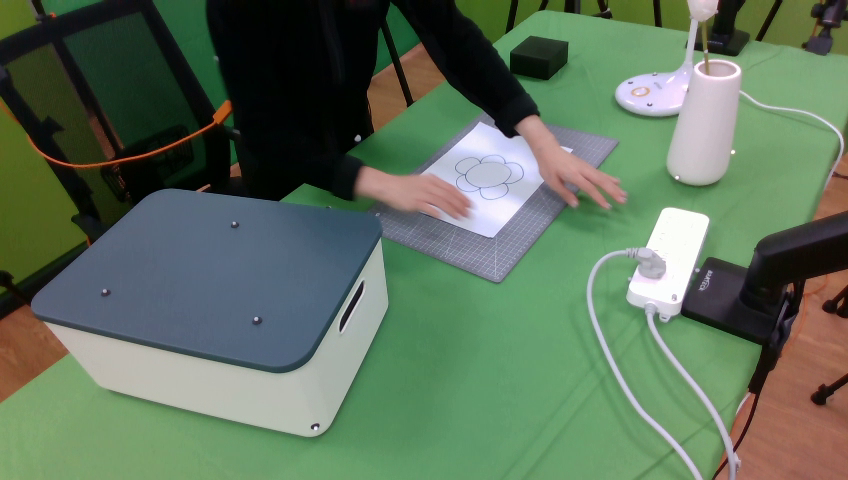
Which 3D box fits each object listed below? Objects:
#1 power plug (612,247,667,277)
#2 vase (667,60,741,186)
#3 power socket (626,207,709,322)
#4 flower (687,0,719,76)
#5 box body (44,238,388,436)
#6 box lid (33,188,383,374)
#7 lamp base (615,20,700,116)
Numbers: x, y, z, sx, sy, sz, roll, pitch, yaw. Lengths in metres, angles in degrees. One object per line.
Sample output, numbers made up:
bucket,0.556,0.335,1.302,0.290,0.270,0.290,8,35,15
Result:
power plug,0.306,0.031,0.852,0.072,0.053,0.035,22,49,37
vase,0.463,-0.189,0.994,0.098,0.201,0.097,-4,40,3
power socket,0.360,0.026,0.886,0.072,0.033,0.227,17,46,27
flower,0.436,-0.242,0.934,0.038,0.364,0.043,-24,49,8
box body,-0.251,0.088,0.799,0.362,0.161,0.254,7,42,16
box lid,-0.257,0.032,0.751,0.370,0.015,0.263,8,42,16
lamp base,0.484,-0.364,1.211,0.180,0.181,0.159,-15,41,-14
